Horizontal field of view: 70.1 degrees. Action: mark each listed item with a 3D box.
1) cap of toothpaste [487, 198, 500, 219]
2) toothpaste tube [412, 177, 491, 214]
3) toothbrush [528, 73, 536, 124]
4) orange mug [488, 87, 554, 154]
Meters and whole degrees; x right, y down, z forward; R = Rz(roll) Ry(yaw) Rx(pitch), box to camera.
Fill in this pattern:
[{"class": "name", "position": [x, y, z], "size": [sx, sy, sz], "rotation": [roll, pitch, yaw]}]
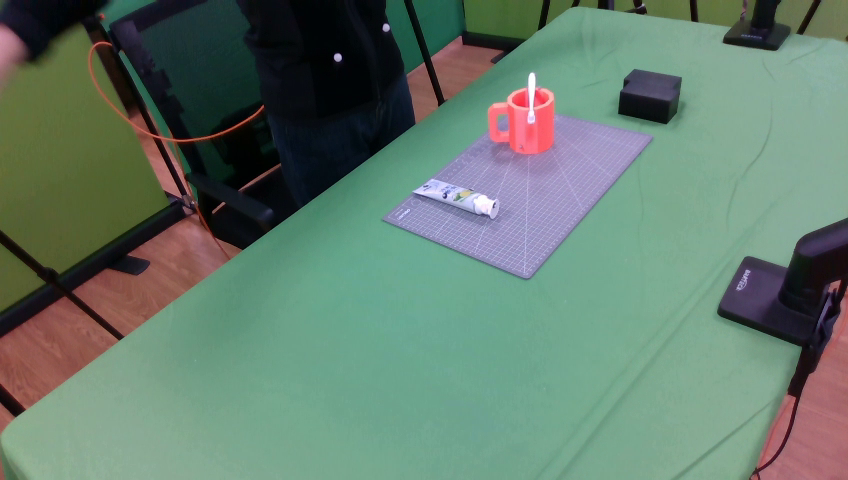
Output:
[{"class": "cap of toothpaste", "position": [0.115, -0.054, 1.007], "size": [0.011, 0.037, 0.037], "rotation": [17, 47, 24]}, {"class": "toothpaste tube", "position": [0.056, -0.079, 1.057], "size": [0.163, 0.034, 0.055], "rotation": [22, 42, 37]}, {"class": "toothbrush", "position": [0.198, -0.267, 1.114], "size": [0.014, 0.017, 0.181], "rotation": [-5, 40, 14]}, {"class": "orange mug", "position": [0.185, -0.227, 1.151], "size": [0.126, 0.101, 0.083], "rotation": [1, 41, 5]}]
